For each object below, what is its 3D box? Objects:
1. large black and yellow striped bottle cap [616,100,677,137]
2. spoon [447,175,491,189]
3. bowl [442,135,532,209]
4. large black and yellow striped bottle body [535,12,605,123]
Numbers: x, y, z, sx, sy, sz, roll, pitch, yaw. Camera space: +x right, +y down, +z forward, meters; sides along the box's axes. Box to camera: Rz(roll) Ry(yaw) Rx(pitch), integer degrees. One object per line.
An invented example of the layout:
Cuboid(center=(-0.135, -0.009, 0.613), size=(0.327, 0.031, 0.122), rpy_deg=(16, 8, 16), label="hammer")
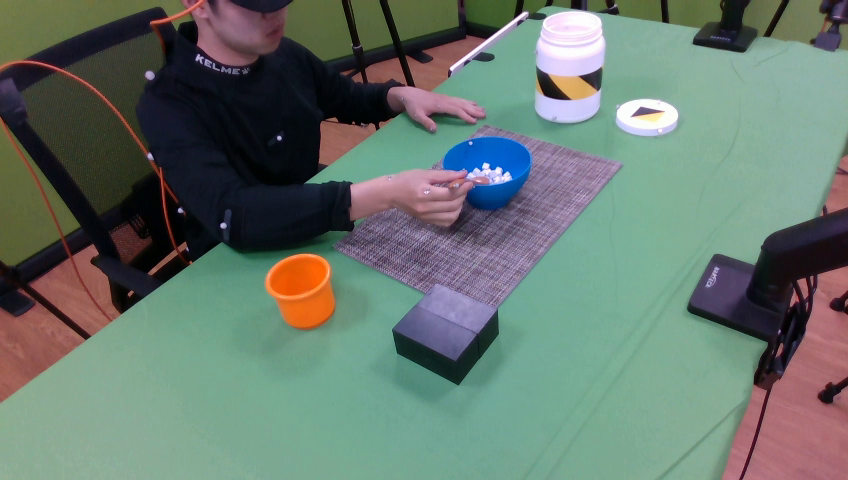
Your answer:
Cuboid(center=(0.438, -0.241, 1.190), size=(0.115, 0.019, 0.114), rpy_deg=(-4, 42, 4), label="large black and yellow striped bottle cap")
Cuboid(center=(0.066, -0.091, 0.944), size=(0.041, 0.021, 0.194), rpy_deg=(4, 7, 19), label="spoon")
Cuboid(center=(0.109, -0.106, 1.026), size=(0.151, 0.077, 0.150), rpy_deg=(-4, 41, 4), label="bowl")
Cuboid(center=(0.287, -0.341, 1.197), size=(0.131, 0.185, 0.130), rpy_deg=(-4, 41, 4), label="large black and yellow striped bottle body")
